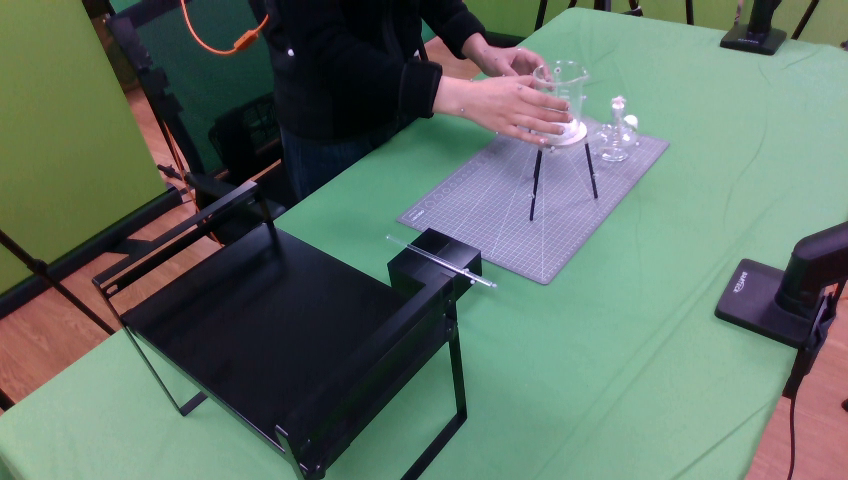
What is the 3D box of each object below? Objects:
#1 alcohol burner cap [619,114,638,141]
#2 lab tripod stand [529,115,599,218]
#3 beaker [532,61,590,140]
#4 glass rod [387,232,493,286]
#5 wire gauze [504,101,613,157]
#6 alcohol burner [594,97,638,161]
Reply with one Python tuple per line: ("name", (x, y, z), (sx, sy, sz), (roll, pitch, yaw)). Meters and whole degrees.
("alcohol burner cap", (0.389, -0.215, 1.145), (0.034, 0.048, 0.033), (-4, 40, 3))
("lab tripod stand", (0.217, -0.123, 0.995), (0.148, 0.132, 0.147), (-4, 43, 4))
("beaker", (0.207, -0.211, 0.922), (0.083, 0.101, 0.074), (5, 43, 15))
("glass rod", (0.018, 0.026, 0.878), (0.198, 0.008, 0.008), (25, 50, 33))
("wire gauze", (0.211, -0.175, 0.956), (0.125, 0.011, 0.120), (-26, 43, -16))
("alcohol burner", (0.345, -0.203, 1.083), (0.078, 0.119, 0.077), (-5, 42, 5))
